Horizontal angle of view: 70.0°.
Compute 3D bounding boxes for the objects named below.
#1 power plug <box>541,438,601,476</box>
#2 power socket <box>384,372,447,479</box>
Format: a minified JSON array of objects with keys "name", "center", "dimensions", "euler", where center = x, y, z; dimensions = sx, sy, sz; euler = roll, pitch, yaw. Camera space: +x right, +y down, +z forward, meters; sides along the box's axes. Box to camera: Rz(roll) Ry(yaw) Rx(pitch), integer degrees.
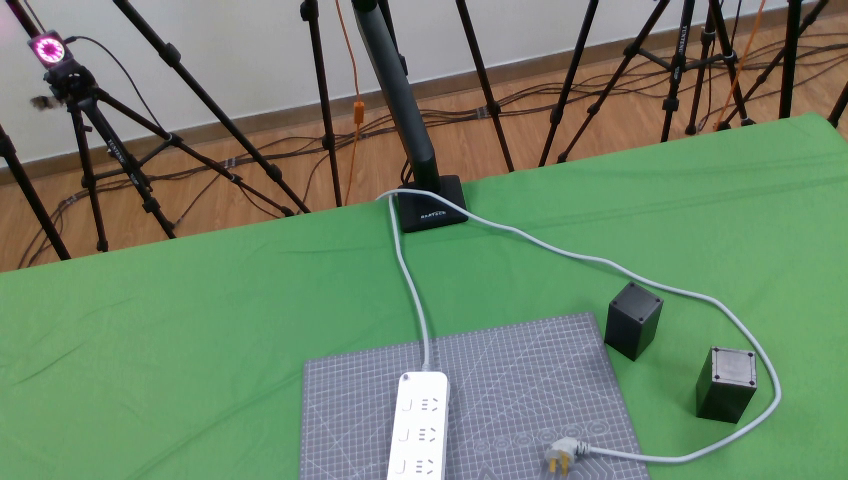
[{"name":"power plug","center":[0.184,0.274,0.764],"dimensions":[0.072,0.035,0.052],"euler":[-5,30,21]},{"name":"power socket","center":[-0.011,0.278,0.804],"dimensions":[0.072,0.033,0.224],"euler":[-1,50,9]}]
